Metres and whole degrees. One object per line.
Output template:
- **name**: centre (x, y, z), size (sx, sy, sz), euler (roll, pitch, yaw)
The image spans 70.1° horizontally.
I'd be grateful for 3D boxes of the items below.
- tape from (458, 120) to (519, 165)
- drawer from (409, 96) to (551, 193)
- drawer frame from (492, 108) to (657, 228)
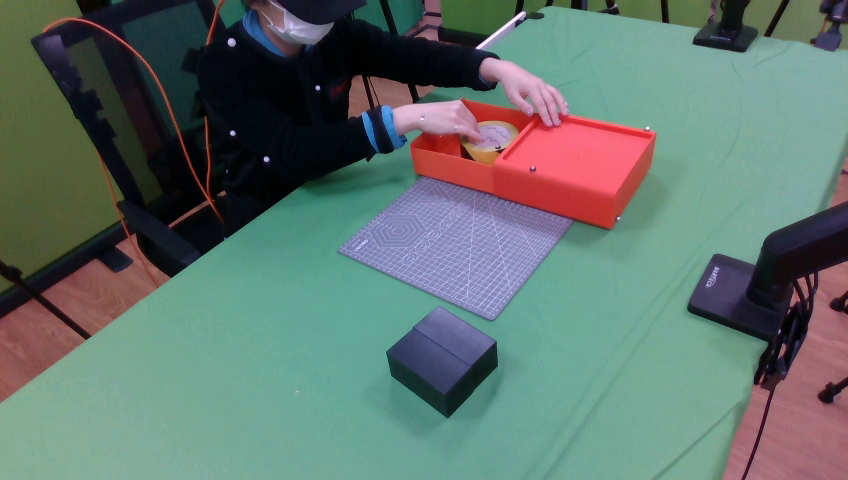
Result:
- **tape**: centre (0.121, -0.172, 1.116), size (0.117, 0.053, 0.116), euler (-6, 39, 5)
- **drawer**: centre (0.113, -0.178, 1.113), size (0.210, 0.073, 0.195), euler (19, 46, 29)
- **drawer frame**: centre (0.255, -0.130, 1.032), size (0.212, 0.083, 0.202), euler (19, 47, 27)
